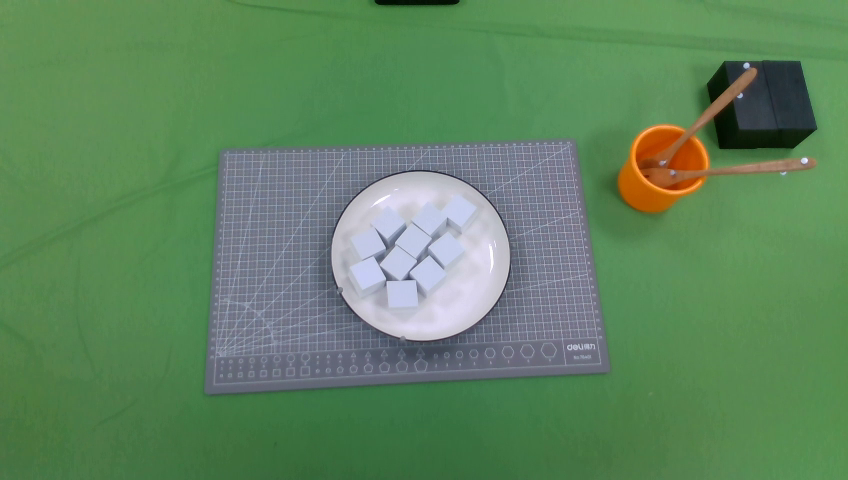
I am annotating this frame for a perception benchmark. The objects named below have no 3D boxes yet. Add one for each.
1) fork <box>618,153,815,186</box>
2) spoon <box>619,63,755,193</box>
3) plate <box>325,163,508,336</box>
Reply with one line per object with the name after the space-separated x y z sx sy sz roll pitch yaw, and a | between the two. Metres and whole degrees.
0.322 -0.081 0.687 0.206 0.019 0.028 -2 84 42 | fork
0.305 -0.127 0.707 0.022 0.194 0.041 -14 61 -52 | spoon
-0.009 0.012 0.704 0.208 0.039 0.206 1 71 -2 | plate
